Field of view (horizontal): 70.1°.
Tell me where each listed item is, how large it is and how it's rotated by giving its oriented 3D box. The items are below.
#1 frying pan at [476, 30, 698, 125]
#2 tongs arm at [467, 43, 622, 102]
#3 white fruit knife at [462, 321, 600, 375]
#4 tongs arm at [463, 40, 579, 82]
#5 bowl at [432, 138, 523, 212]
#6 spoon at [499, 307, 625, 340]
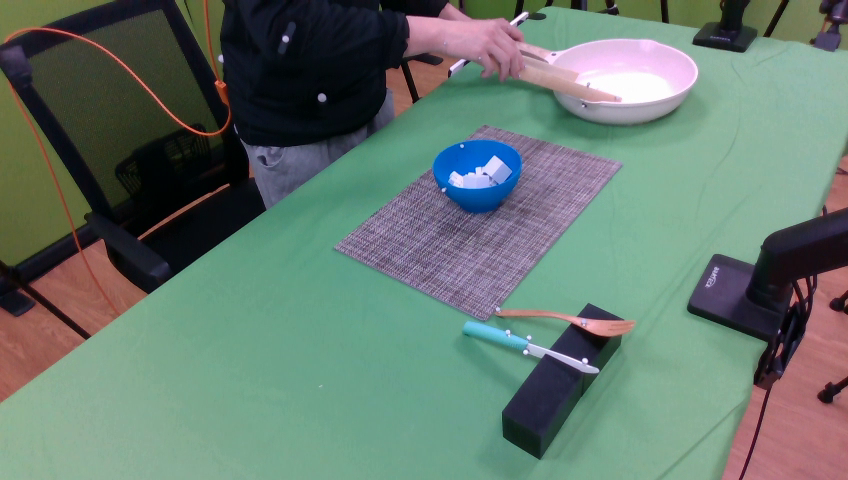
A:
[{"bbox_3d":[0.321,-0.371,1.290,0.484,0.103,0.307,29,51,24],"label":"frying pan"},{"bbox_3d":[0.233,-0.292,1.100,0.388,0.026,0.050,2,35,-41],"label":"tongs arm"},{"bbox_3d":[0.126,0.132,0.752,0.205,0.027,0.016,12,48,42],"label":"white fruit knife"},{"bbox_3d":[0.195,-0.330,1.141,0.391,0.028,0.028,-5,43,-48],"label":"tongs arm"},{"bbox_3d":[0.091,-0.100,1.022,0.151,0.077,0.150,-4,41,4],"label":"bowl"},{"bbox_3d":[0.169,0.102,0.773,0.042,0.021,0.192,-7,11,-38],"label":"spoon"}]
